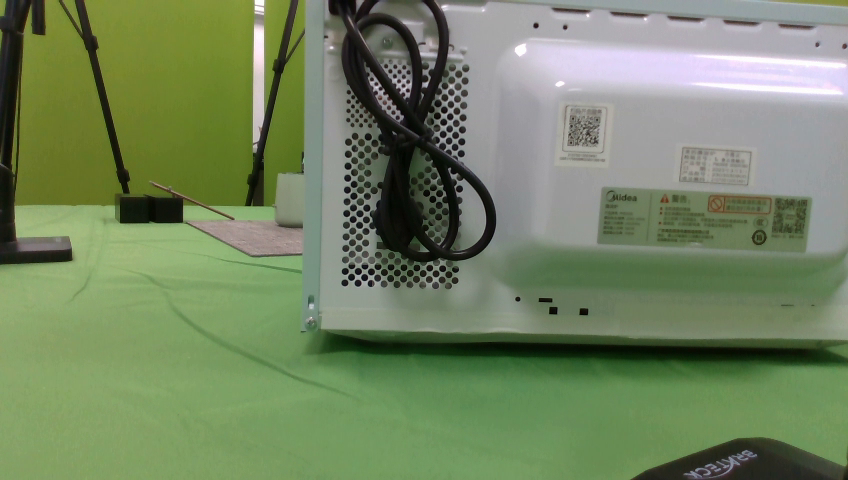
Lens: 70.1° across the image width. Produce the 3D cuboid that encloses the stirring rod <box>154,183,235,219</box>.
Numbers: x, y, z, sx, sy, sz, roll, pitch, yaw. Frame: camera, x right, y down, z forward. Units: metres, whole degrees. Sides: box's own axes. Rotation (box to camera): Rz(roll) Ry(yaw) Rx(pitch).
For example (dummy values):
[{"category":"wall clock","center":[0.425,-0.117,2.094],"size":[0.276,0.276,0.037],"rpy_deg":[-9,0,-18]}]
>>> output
[{"category":"stirring rod","center":[-0.472,-0.079,1.252],"size":[0.177,0.006,0.014],"rpy_deg":[27,4,-35]}]

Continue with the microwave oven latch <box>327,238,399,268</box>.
[{"category":"microwave oven latch","center":[-0.069,0.015,0.694],"size":[0.079,0.029,0.030],"rpy_deg":[3,7,-3]}]

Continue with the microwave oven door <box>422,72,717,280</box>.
[{"category":"microwave oven door","center":[0.171,-0.088,0.776],"size":[0.354,0.243,0.039],"rpy_deg":[5,7,23]}]

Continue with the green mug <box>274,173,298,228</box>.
[{"category":"green mug","center":[-0.242,-0.081,1.221],"size":[0.092,0.105,0.126],"rpy_deg":[8,9,39]}]

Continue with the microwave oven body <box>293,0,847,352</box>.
[{"category":"microwave oven body","center":[0.122,-0.055,0.550],"size":[0.442,0.260,0.325],"rpy_deg":[3,7,-5]}]
